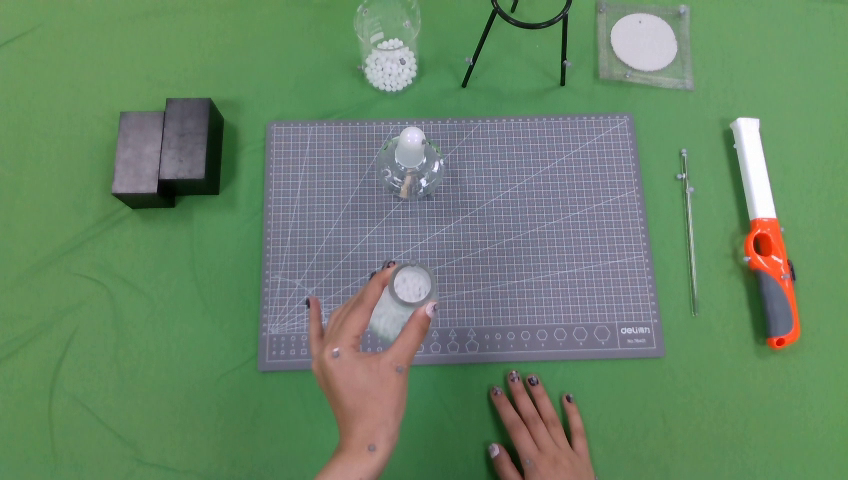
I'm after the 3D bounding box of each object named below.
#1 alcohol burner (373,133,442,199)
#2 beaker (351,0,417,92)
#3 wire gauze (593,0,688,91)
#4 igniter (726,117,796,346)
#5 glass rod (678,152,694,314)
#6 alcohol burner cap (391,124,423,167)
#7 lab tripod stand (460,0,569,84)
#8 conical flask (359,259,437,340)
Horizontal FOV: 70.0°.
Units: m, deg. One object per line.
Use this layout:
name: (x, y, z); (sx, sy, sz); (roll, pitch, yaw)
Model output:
alcohol burner: (-0.018, -0.090, 0.670); (0.078, 0.119, 0.077); (1, 74, -3)
beaker: (-0.043, -0.231, 0.718); (0.084, 0.101, 0.073); (-42, 79, -12)
wire gauze: (0.279, -0.254, 0.779); (0.125, 0.011, 0.121); (5, 76, -2)
igniter: (0.392, -0.015, 0.707); (0.057, 0.025, 0.275); (1, 75, -12)
glass rod: (0.308, -0.012, 0.714); (0.008, 0.008, 0.198); (3, 75, -1)
alcohol burner cap: (-0.016, -0.102, 0.636); (0.034, 0.048, 0.033); (3, 68, -8)
lab tripod stand: (0.109, -0.247, 0.708); (0.148, 0.132, 0.147); (0, 77, -1)
conical flask: (-0.018, 0.047, 0.530); (0.075, 0.122, 0.075); (2, 78, -7)
